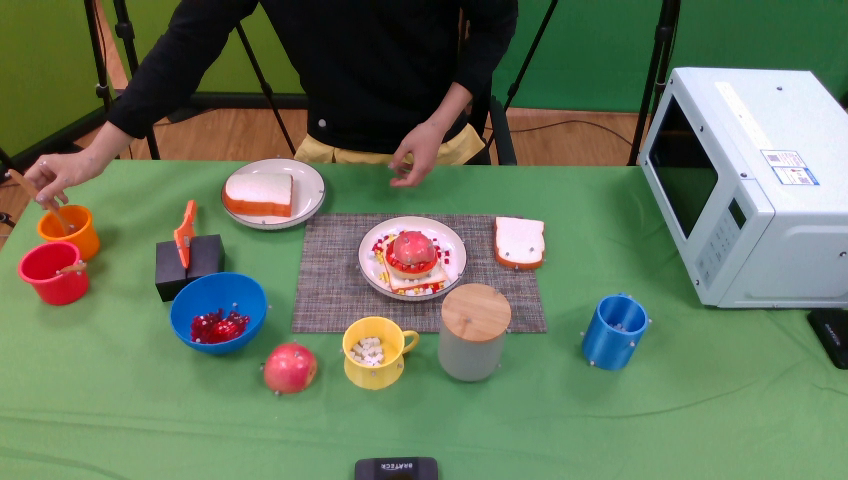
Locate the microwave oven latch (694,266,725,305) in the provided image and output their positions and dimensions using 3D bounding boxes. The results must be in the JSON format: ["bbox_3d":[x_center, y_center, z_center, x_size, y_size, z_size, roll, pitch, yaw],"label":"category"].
[{"bbox_3d":[0.523,0.082,1.115,0.030,0.029,0.078,3,46,0],"label":"microwave oven latch"}]

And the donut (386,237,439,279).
[{"bbox_3d":[-0.021,0.028,1.111,0.099,0.048,0.098,3,46,-3],"label":"donut"}]

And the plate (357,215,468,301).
[{"bbox_3d":[-0.022,0.037,1.141,0.208,0.039,0.206,2,46,-2],"label":"plate"}]

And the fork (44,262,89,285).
[{"bbox_3d":[-0.598,0.054,1.014,0.207,0.019,0.028,-15,28,45],"label":"fork"}]

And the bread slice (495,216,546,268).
[{"bbox_3d":[0.194,0.002,1.205,0.105,0.019,0.131,5,45,2],"label":"bread slice"}]

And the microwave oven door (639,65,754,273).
[{"bbox_3d":[0.522,-0.147,1.192,0.039,0.245,0.353,0,47,-3],"label":"microwave oven door"}]

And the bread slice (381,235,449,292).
[{"bbox_3d":[-0.027,0.039,1.140,0.107,0.018,0.133,-12,47,-16],"label":"bread slice"}]

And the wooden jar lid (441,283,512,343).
[{"bbox_3d":[0.080,0.114,0.931,0.108,0.021,0.107,1,49,-1],"label":"wooden jar lid"}]

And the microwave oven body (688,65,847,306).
[{"bbox_3d":[0.669,-0.111,1.176,0.326,0.261,0.439,0,46,-3],"label":"microwave oven body"}]

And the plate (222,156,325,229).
[{"bbox_3d":[-0.308,-0.095,1.251,0.209,0.038,0.208,2,47,-2],"label":"plate"}]

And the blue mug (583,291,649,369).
[{"bbox_3d":[0.324,0.142,1.023,0.082,0.106,0.116,15,47,11],"label":"blue mug"}]

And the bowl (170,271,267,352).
[{"bbox_3d":[-0.333,0.132,1.006,0.151,0.077,0.150,2,46,-2],"label":"bowl"}]

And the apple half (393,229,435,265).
[{"bbox_3d":[-0.018,0.005,1.084,0.081,0.033,0.081,6,49,-7],"label":"apple half"}]

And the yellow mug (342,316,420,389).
[{"bbox_3d":[-0.067,0.178,0.990,0.131,0.064,0.099,-16,50,-19],"label":"yellow mug"}]

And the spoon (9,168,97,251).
[{"bbox_3d":[-0.660,-0.054,1.082,0.021,0.195,0.041,7,49,34],"label":"spoon"}]

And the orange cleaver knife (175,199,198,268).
[{"bbox_3d":[-0.438,-0.017,1.137,0.012,0.077,0.210,-14,27,-6],"label":"orange cleaver knife"}]

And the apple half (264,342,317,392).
[{"bbox_3d":[-0.214,0.198,0.970,0.074,0.053,0.080,19,48,10],"label":"apple half"}]

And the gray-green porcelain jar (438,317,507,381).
[{"bbox_3d":[0.076,0.158,0.977,0.106,0.127,0.105,2,47,-2],"label":"gray-green porcelain jar"}]
